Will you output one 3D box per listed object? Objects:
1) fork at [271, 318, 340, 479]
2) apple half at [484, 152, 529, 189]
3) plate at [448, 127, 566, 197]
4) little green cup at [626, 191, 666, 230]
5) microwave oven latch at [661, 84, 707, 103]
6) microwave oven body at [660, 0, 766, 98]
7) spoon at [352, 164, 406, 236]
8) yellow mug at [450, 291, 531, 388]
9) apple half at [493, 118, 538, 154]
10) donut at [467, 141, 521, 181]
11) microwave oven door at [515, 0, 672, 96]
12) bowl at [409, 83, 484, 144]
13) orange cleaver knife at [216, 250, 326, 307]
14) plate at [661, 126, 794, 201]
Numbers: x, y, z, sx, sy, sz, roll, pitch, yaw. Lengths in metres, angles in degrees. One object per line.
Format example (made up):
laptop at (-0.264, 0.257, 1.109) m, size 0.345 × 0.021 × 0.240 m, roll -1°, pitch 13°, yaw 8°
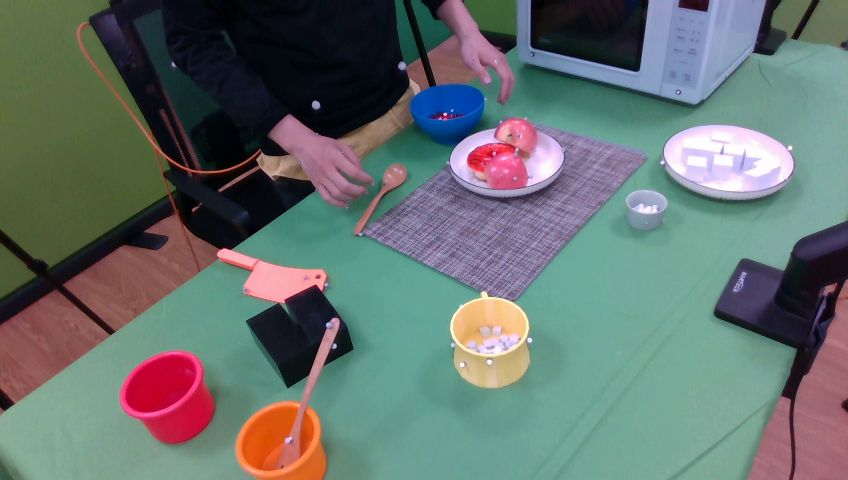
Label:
fork at (-0.132, 0.186, 0.676) m, size 0.028 × 0.019 × 0.207 m, roll 18°, pitch 90°, yaw 28°
apple half at (0.144, -0.116, 1.032) m, size 0.081 × 0.033 × 0.081 m, roll 3°, pitch 78°, yaw -11°
plate at (0.150, -0.138, 1.096) m, size 0.209 × 0.038 × 0.208 m, roll -4°, pitch 40°, yaw 4°
little green cup at (0.352, -0.046, 0.963) m, size 0.061 × 0.039 × 0.061 m, roll -4°, pitch 40°, yaw 4°
microwave oven latch at (0.517, -0.296, 1.204) m, size 0.078 × 0.029 × 0.030 m, roll 27°, pitch 52°, yaw 34°
microwave oven body at (0.472, -0.513, 1.317) m, size 0.438 × 0.261 × 0.327 m, roll 26°, pitch 51°, yaw 34°
spoon at (-0.082, -0.075, 1.074) m, size 0.041 × 0.022 × 0.194 m, roll 21°, pitch 46°, yaw 10°
yellow mug at (0.085, 0.120, 0.786) m, size 0.100 × 0.064 × 0.130 m, roll -7°, pitch 39°, yaw 1°
apple half at (0.175, -0.197, 1.114) m, size 0.080 × 0.053 × 0.075 m, roll 29°, pitch 12°, yaw 34°
donut at (0.127, -0.144, 1.090) m, size 0.099 × 0.048 × 0.098 m, roll -5°, pitch 39°, yaw 5°
microwave oven door at (0.343, -0.454, 1.259) m, size 0.353 × 0.245 × 0.039 m, roll 26°, pitch 51°, yaw 33°
bowl at (0.048, -0.245, 1.214) m, size 0.151 × 0.077 × 0.150 m, roll -4°, pitch 40°, yaw 4°
orange cleaver knife at (-0.248, 0.058, 0.945) m, size 0.210 × 0.012 × 0.077 m, roll 13°, pitch 49°, yaw 20°
plate at (0.513, -0.128, 1.035) m, size 0.207 × 0.039 × 0.206 m, roll -4°, pitch 40°, yaw 4°
